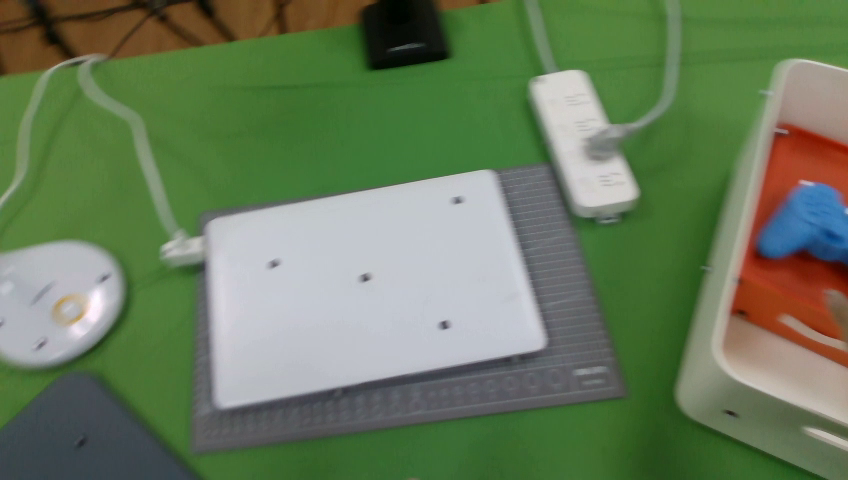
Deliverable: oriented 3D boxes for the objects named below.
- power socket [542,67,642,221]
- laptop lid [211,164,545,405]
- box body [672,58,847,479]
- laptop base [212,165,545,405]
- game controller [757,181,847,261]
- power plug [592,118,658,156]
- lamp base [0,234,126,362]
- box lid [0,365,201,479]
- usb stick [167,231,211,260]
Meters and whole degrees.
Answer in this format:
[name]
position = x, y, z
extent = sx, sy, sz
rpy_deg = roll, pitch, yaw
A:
[power socket]
position = 0.205, -0.128, 0.753
extent = 0.072, 0.033, 0.224
rpy_deg = -9, 61, -2
[laptop lid]
position = -0.063, 0.039, 0.677
extent = 0.357, 0.013, 0.239
rpy_deg = -9, 64, 0
[box body]
position = 0.416, 0.035, 0.577
extent = 0.253, 0.162, 0.362
rpy_deg = 22, 66, 15
[laptop base]
position = -0.062, 0.042, 0.689
extent = 0.354, 0.023, 0.233
rpy_deg = -10, 65, -2
[game controller]
position = 0.413, 0.005, 0.574
extent = 0.154, 0.052, 0.097
rpy_deg = 35, 65, 20
[power plug]
position = 0.237, -0.116, 0.719
extent = 0.072, 0.053, 0.035
rpy_deg = 1, 61, 3
[lamp base]
position = -0.442, 0.023, 0.634
extent = 0.178, 0.182, 0.160
rpy_deg = 16, 64, 16
[box lid]
position = -0.327, 0.314, 0.568
extent = 0.369, 0.015, 0.263
rpy_deg = 35, 69, 20
[usb stick]
position = -0.266, 0.005, 0.708
extent = 0.059, 0.027, 0.021
rpy_deg = -6, 56, -3
